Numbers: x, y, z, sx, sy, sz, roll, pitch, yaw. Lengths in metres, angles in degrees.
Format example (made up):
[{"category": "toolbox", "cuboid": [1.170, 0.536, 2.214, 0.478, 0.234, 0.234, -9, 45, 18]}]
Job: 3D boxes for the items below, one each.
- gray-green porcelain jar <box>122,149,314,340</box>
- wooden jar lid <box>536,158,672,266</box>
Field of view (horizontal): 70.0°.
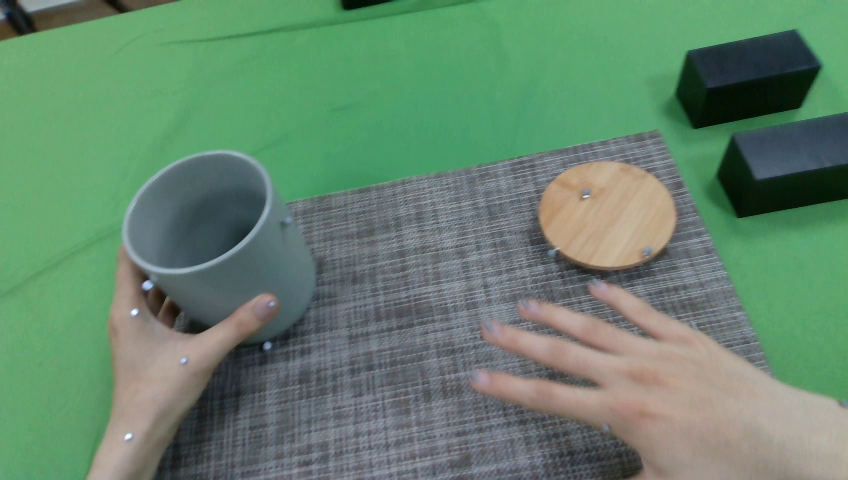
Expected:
[{"category": "gray-green porcelain jar", "cuboid": [-0.148, 0.011, 0.467, 0.106, 0.128, 0.105, -4, 56, 6]}, {"category": "wooden jar lid", "cuboid": [0.148, -0.022, 0.505, 0.108, 0.021, 0.107, -4, 58, 7]}]
